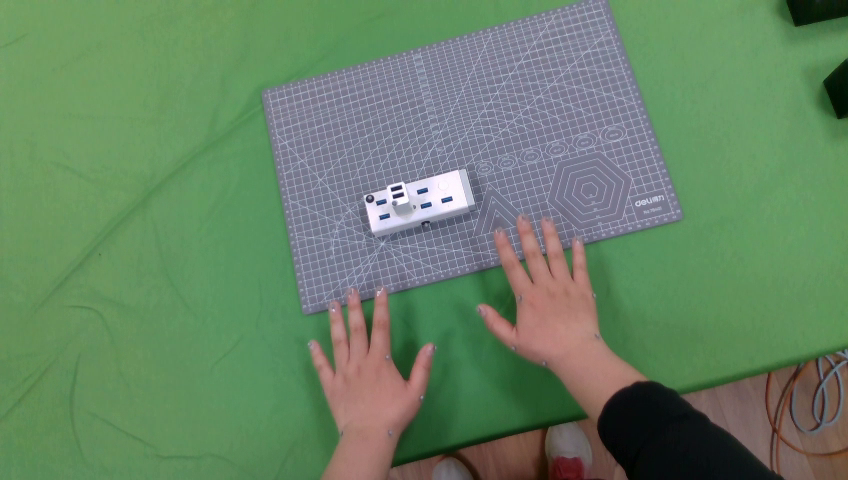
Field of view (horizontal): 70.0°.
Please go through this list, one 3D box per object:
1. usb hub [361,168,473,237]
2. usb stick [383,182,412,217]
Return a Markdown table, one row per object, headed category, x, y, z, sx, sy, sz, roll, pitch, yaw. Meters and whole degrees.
| category | x | y | z | sx | sy | sz | roll | pitch | yaw |
| --- | --- | --- | --- | --- | --- | --- | --- | --- | --- |
| usb hub | -0.009 | -0.044 | 0.710 | 0.125 | 0.025 | 0.049 | -15 | 75 | 3 |
| usb stick | -0.028 | -0.043 | 0.682 | 0.021 | 0.059 | 0.027 | -18 | 73 | 3 |
